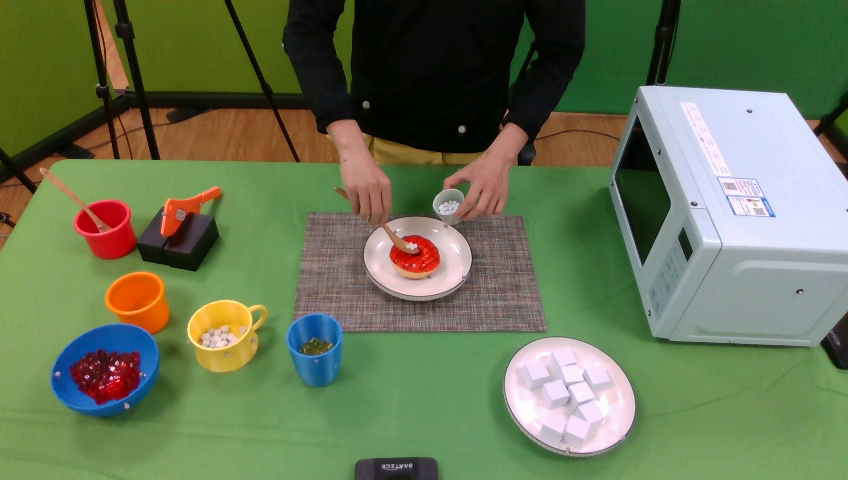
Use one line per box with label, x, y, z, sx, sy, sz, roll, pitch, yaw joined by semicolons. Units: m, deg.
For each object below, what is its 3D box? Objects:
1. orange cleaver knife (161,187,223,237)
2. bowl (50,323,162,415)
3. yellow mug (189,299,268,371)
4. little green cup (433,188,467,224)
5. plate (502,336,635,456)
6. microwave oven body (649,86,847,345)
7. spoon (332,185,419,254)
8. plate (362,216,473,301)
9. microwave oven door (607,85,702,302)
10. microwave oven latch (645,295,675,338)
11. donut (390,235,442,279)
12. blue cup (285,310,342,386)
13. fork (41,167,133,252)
orange cleaver knife;-0.448;-0.058;1.181;0.012;0.077;0.211;13;17;6
bowl;-0.472;0.209;0.924;0.151;0.077;0.150;3;45;-2
yellow mug;-0.316;0.148;1.002;0.131;0.064;0.099;-32;56;-31
little green cup;0.052;-0.061;1.130;0.061;0.039;0.061;-9;57;14
plate;0.225;0.248;0.963;0.208;0.039;0.206;2;46;-2
microwave oven body;0.568;-0.053;1.118;0.326;0.261;0.439;2;45;-1
spoon;-0.084;-0.036;1.075;0.194;0.021;0.041;43;15;-17
plate;-0.012;0.038;1.144;0.209;0.038;0.208;2;45;-2
microwave oven door;0.423;-0.094;1.141;0.039;0.245;0.353;2;46;-1
microwave oven latch;0.412;0.134;1.061;0.030;0.029;0.078;3;45;0
donut;-0.015;0.032;1.135;0.099;0.048;0.098;3;44;-3
blue cup;-0.170;0.179;0.958;0.093;0.101;0.092;2;44;-1
fork;-0.624;-0.056;1.121;0.208;0.018;0.028;49;51;-15
